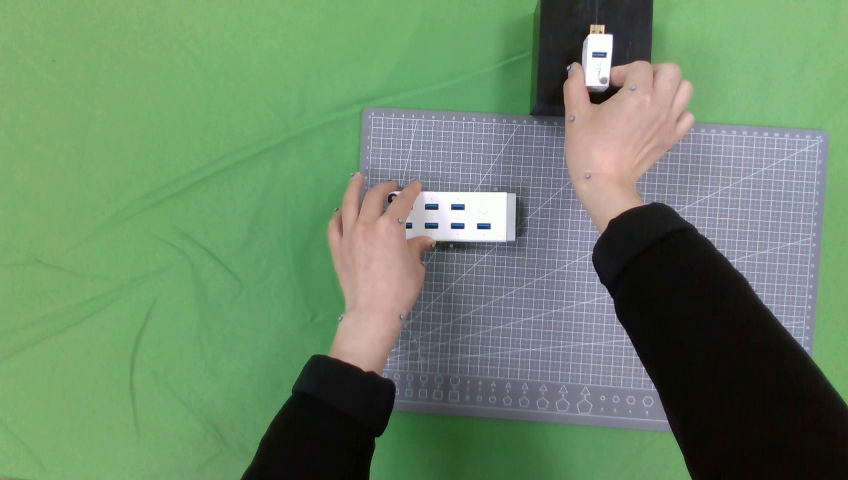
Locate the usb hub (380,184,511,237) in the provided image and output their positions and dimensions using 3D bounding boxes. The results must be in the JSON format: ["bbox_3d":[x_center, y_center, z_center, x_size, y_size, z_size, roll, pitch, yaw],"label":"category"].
[{"bbox_3d":[0.020,-0.029,0.586,0.125,0.025,0.049,1,91,2],"label":"usb hub"}]

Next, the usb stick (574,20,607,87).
[{"bbox_3d":[0.146,-0.166,0.529,0.021,0.027,0.059,4,88,0],"label":"usb stick"}]
